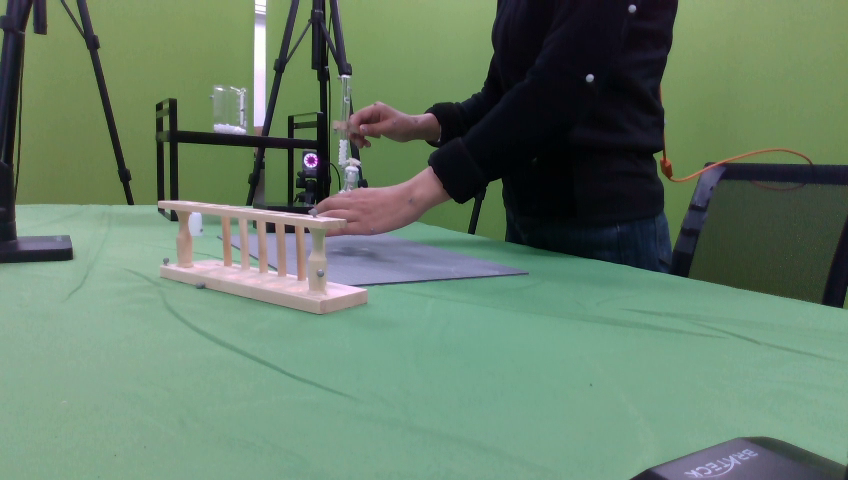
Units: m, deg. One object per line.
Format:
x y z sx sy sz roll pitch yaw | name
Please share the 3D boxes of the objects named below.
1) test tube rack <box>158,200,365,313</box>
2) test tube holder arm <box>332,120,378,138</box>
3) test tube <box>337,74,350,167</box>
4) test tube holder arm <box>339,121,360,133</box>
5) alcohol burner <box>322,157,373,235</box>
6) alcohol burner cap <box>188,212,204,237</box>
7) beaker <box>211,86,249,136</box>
-0.174 0.009 0.624 0.241 0.085 0.067 7 9 34 | test tube rack
-0.118 -0.195 1.068 0.013 0.015 0.179 11 8 15 | test tube holder arm
-0.133 -0.197 1.001 0.017 0.150 0.017 4 9 0 | test tube
-0.124 -0.191 1.024 0.010 0.015 0.088 10 7 9 | test tube holder arm
-0.115 -0.067 0.925 0.078 0.119 0.078 4 8 0 | alcohol burner
-0.390 -0.029 1.025 0.034 0.048 0.034 2 9 0 | alcohol burner cap
-0.413 -0.274 1.297 0.074 0.100 0.083 -5 11 -44 | beaker
